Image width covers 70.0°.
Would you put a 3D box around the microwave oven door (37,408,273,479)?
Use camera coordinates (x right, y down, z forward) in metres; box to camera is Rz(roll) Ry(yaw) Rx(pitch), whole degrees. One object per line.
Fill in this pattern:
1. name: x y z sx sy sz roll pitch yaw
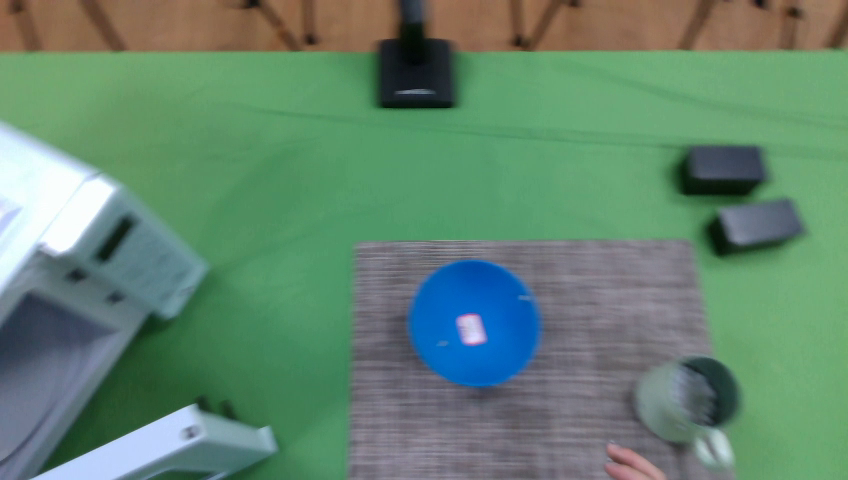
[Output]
1. microwave oven door: -0.340 0.254 0.570 0.356 0.245 0.039 -25 72 -9

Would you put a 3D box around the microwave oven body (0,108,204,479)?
1. microwave oven body: -0.517 0.088 0.638 0.325 0.262 0.440 27 72 9

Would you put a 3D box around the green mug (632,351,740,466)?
1. green mug: 0.299 0.189 0.682 0.092 0.105 0.124 -16 70 -6

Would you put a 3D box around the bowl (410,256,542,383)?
1. bowl: 0.059 0.102 0.730 0.151 0.077 0.150 0 69 1

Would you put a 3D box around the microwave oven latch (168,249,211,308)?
1. microwave oven latch: -0.301 0.044 0.758 0.030 0.030 0.079 29 73 10
